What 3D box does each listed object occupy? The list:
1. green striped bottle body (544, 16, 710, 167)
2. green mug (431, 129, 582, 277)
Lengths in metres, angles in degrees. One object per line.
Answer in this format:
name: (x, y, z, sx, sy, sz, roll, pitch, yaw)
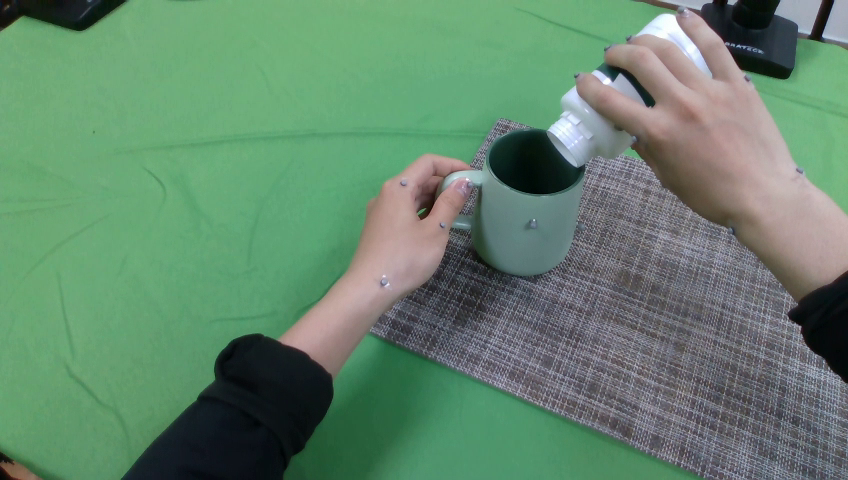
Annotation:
green striped bottle body: (0.149, -0.108, 0.463, 0.119, 0.064, 0.062, -40, 57, 5)
green mug: (0.068, -0.029, 0.518, 0.125, 0.106, 0.091, -1, 52, -1)
